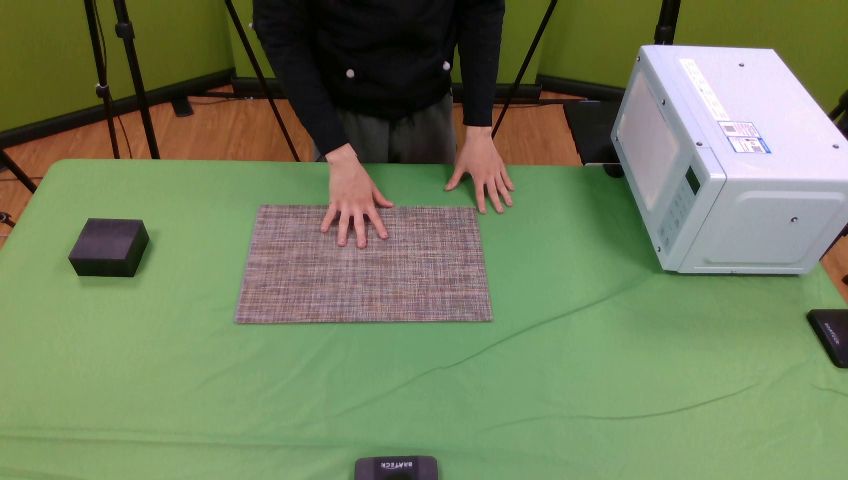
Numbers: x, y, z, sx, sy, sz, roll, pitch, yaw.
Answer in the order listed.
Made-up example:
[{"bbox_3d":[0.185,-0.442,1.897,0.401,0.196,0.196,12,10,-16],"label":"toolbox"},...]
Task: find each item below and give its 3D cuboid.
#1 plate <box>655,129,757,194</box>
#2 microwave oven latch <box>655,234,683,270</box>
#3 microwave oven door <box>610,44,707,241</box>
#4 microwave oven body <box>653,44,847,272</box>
[{"bbox_3d":[0.600,-0.165,1.305,0.209,0.038,0.208,1,46,-1],"label":"plate"},{"bbox_3d":[0.473,0.021,1.175,0.030,0.029,0.078,2,46,-1],"label":"microwave oven latch"},{"bbox_3d":[0.474,-0.208,1.250,0.039,0.245,0.353,0,47,-3],"label":"microwave oven door"},{"bbox_3d":[0.620,-0.172,1.234,0.326,0.261,0.439,0,46,-3],"label":"microwave oven body"}]
